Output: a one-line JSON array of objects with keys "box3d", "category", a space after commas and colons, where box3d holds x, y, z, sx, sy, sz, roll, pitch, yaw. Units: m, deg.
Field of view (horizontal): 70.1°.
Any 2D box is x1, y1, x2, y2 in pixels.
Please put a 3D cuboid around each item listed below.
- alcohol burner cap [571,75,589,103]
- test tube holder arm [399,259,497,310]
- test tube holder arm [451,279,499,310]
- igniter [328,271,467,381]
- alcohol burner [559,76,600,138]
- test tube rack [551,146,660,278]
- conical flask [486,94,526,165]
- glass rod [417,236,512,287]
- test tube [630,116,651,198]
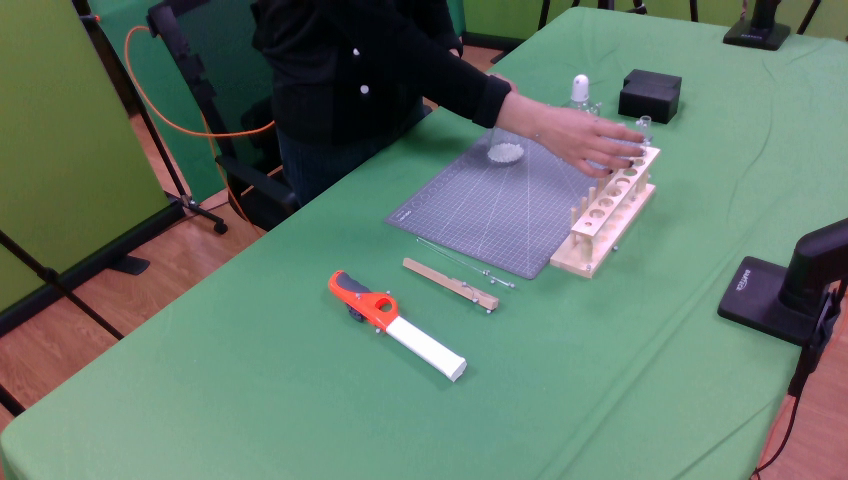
[{"box3d": [0.294, -0.284, 1.132, 0.034, 0.048, 0.033, -5, 46, 5], "category": "alcohol burner cap"}, {"box3d": [0.032, 0.064, 0.902, 0.177, 0.015, 0.013, 23, 12, 32], "category": "test tube holder arm"}, {"box3d": [0.071, 0.079, 0.882, 0.087, 0.015, 0.010, 23, 13, 33], "category": "test tube holder arm"}, {"box3d": [-0.049, 0.114, 0.854, 0.274, 0.025, 0.057, 29, 63, 37], "category": "igniter"}, {"box3d": [0.298, -0.258, 1.156, 0.078, 0.119, 0.077, -4, 39, 4], "category": "alcohol burner"}, {"box3d": [0.286, -0.053, 0.943, 0.066, 0.085, 0.243, 21, 49, 32], "category": "test tube rack"}, {"box3d": [0.149, -0.207, 1.118, 0.075, 0.122, 0.075, -6, 40, 5], "category": "conical flask"}, {"box3d": [0.059, 0.032, 0.945, 0.198, 0.008, 0.008, 27, 52, 38], "category": "glass rod"}, {"box3d": [0.336, -0.125, 0.941, 0.017, 0.151, 0.017, -5, 43, 5], "category": "test tube"}]
